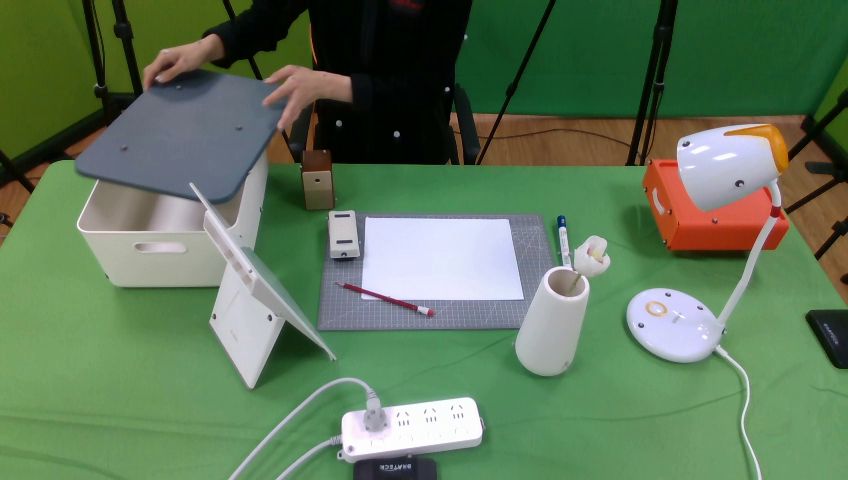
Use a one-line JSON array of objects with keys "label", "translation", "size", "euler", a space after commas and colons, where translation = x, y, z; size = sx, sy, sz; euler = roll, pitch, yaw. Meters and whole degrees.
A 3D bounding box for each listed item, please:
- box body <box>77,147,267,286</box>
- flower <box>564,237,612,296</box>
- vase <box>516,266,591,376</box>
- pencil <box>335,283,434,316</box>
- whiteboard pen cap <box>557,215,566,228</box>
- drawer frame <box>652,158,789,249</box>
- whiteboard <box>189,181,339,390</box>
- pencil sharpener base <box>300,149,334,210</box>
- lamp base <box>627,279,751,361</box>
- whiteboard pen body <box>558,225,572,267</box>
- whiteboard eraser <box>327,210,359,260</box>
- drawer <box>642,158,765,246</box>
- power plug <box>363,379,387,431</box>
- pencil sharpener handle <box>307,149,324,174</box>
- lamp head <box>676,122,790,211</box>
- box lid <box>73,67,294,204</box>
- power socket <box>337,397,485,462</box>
[{"label": "box body", "translation": [-0.445, -0.088, 1.150], "size": [0.254, 0.161, 0.361], "euler": [-1, 46, -5]}, {"label": "flower", "translation": [0.206, 0.088, 0.893], "size": [0.038, 0.363, 0.044], "euler": [-16, 67, -9]}, {"label": "vase", "translation": [0.208, 0.132, 0.964], "size": [0.098, 0.201, 0.097], "euler": [3, 46, -3]}, {"label": "pencil", "translation": [-0.074, 0.105, 1.097], "size": [0.194, 0.012, 0.012], "euler": [16, 47, 13]}, {"label": "whiteboard pen cap", "translation": [0.284, -0.035, 1.246], "size": [0.018, 0.018, 0.033], "euler": [4, 52, -1]}, {"label": "drawer frame", "translation": [0.571, -0.075, 1.214], "size": [0.214, 0.083, 0.200], "euler": [0, 45, -1]}, {"label": "whiteboard", "translation": [-0.292, 0.096, 0.929], "size": [0.144, 0.307, 0.216], "euler": [-37, 57, -10]}, {"label": "pencil sharpener base", "translation": [-0.219, -0.125, 1.242], "size": [0.061, 0.107, 0.076], "euler": [-4, 46, -8]}, {"label": "lamp base", "translation": [0.460, 0.100, 1.027], "size": [0.178, 0.181, 0.160], "euler": [27, 51, 17]}, {"label": "whiteboard pen body", "translation": [0.280, 0.010, 1.207], "size": [0.017, 0.017, 0.140], "euler": [3, 50, -1]}, {"label": "whiteboard eraser", "translation": [-0.158, -0.009, 1.176], "size": [0.055, 0.042, 0.112], "euler": [-5, 47, -8]}, {"label": "drawer", "translation": [0.566, -0.076, 1.211], "size": [0.212, 0.073, 0.193], "euler": [2, 45, -2]}, {"label": "power plug", "translation": [-0.072, 0.252, 0.910], "size": [0.035, 0.053, 0.072], "euler": [3, 45, -1]}, {"label": "pencil sharpener handle", "translation": [-0.229, -0.170, 1.267], "size": [0.036, 0.068, 0.030], "euler": [2, 45, -15]}, {"label": "lamp head", "translation": [0.423, -0.104, 0.819], "size": [0.122, 0.113, 0.112], "euler": [-13, 33, 40]}, {"label": "box lid", "translation": [-0.410, -0.199, 1.082], "size": [0.263, 0.015, 0.369], "euler": [11, 43, 1]}, {"label": "power socket", "translation": [-0.018, 0.285, 0.915], "size": [0.227, 0.033, 0.071], "euler": [-5, 46, -8]}]
